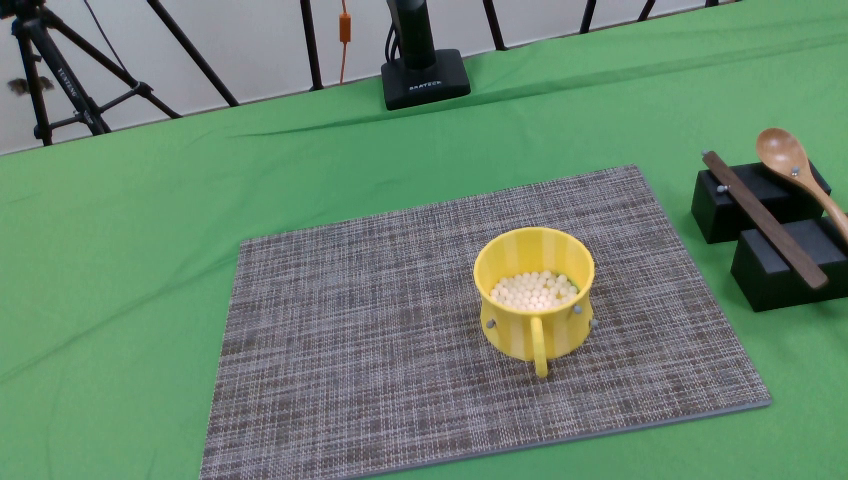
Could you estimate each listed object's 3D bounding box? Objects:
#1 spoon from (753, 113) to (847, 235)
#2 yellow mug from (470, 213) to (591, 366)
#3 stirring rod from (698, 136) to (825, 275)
[{"bbox_3d":[0.334,-0.042,0.510,0.041,0.022,0.191,-10,47,2],"label":"spoon"},{"bbox_3d":[0.092,0.045,0.513,0.100,0.064,0.129,-5,47,8],"label":"yellow mug"},{"bbox_3d":[0.283,-0.036,0.519,0.014,0.006,0.174,-42,39,25],"label":"stirring rod"}]
